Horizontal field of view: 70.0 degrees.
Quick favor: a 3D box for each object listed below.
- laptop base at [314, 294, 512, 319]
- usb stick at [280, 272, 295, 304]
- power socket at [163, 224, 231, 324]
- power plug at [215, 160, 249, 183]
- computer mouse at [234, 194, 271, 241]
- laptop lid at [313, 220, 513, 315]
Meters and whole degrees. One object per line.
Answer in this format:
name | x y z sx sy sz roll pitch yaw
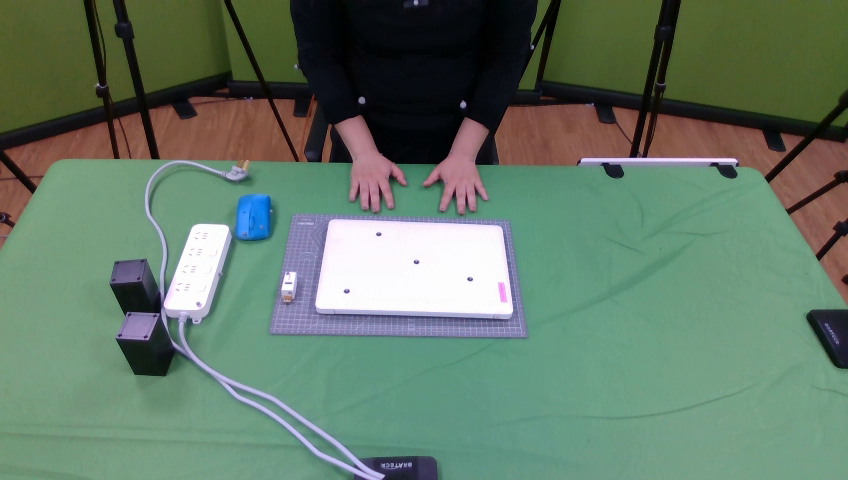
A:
laptop base | -0.018 0.055 1.144 0.354 0.023 0.234 2 42 -2
usb stick | -0.246 0.088 1.085 0.021 0.027 0.059 4 47 -5
power socket | -0.411 0.053 1.106 0.072 0.033 0.225 3 46 -2
power plug | -0.409 -0.152 1.292 0.072 0.035 0.052 22 90 -1
computer mouse | -0.341 -0.049 1.208 0.063 0.041 0.116 0 50 -8
laptop lid | -0.017 0.045 1.138 0.357 0.013 0.240 3 43 -1
